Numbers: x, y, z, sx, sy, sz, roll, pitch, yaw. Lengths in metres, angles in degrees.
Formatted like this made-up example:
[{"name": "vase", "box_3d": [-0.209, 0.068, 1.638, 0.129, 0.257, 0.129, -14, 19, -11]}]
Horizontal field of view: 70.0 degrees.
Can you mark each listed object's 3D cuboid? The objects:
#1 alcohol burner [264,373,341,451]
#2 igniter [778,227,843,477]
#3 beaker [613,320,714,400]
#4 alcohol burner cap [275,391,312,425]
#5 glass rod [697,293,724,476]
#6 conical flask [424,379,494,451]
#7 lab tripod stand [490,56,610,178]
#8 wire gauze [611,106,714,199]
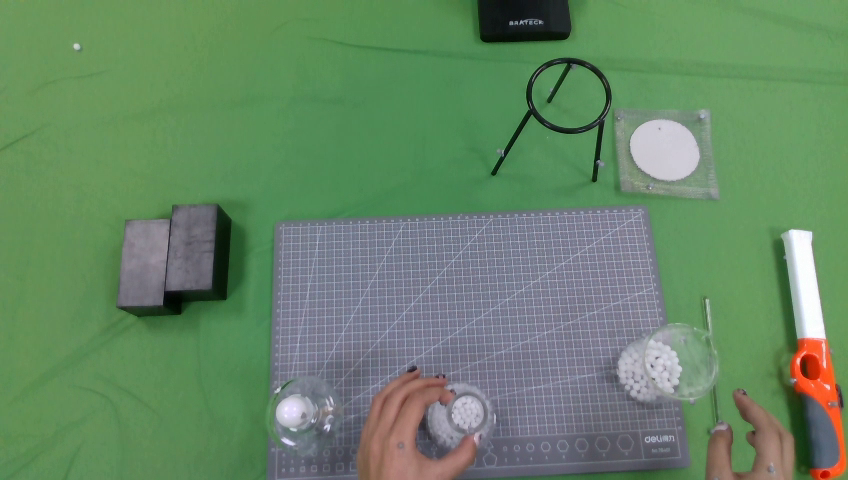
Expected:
[{"name": "alcohol burner", "box_3d": [-0.125, 0.171, 0.606, 0.078, 0.120, 0.077, -1, 71, 2]}, {"name": "igniter", "box_3d": [0.430, 0.118, 0.677, 0.057, 0.025, 0.275, 6, 72, -10]}, {"name": "beaker", "box_3d": [0.246, 0.127, 0.631, 0.084, 0.101, 0.073, -38, 77, -12]}, {"name": "alcohol burner cap", "box_3d": [-0.125, 0.159, 0.572, 0.034, 0.048, 0.033, 1, 76, -4]}, {"name": "glass rod", "box_3d": [0.319, 0.156, 0.674, 0.008, 0.008, 0.198, 1, 72, 0]}, {"name": "conical flask", "box_3d": [0.038, 0.172, 0.603, 0.075, 0.122, 0.075, 0, 72, 0]}, {"name": "lab tripod stand", "box_3d": [0.148, -0.134, 0.698, 0.148, 0.132, 0.147, 0, 74, 0]}, {"name": "wire gauze", "box_3d": [0.299, -0.113, 0.759, 0.125, 0.011, 0.121, 4, 73, -1]}]
